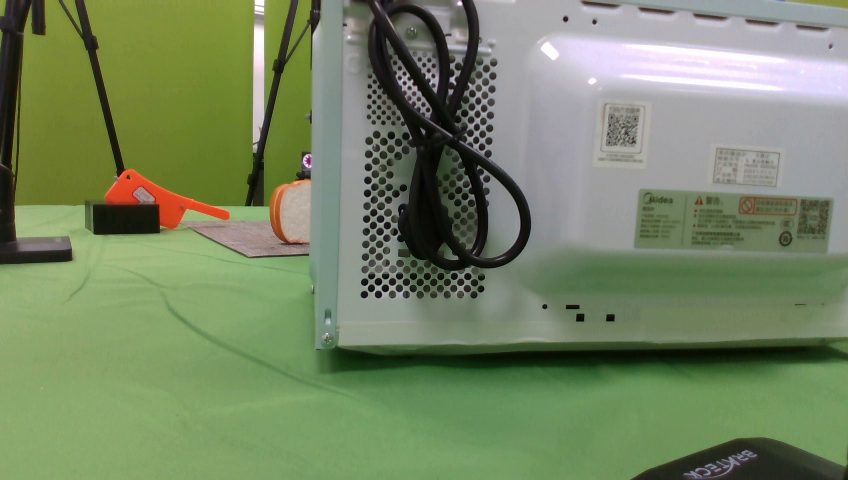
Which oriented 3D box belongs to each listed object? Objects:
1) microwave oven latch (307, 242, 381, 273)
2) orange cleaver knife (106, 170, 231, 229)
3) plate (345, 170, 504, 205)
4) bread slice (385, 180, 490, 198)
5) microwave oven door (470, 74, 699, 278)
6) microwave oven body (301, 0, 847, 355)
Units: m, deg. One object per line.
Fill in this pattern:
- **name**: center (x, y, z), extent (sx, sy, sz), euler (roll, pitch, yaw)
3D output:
- **microwave oven latch**: center (-0.086, 0.019, 0.656), extent (0.079, 0.029, 0.030), euler (2, 7, -10)
- **orange cleaver knife**: center (-0.458, -0.060, 1.097), extent (0.212, 0.077, 0.012), euler (23, -4, -38)
- **plate**: center (0.001, -0.067, 0.794), extent (0.208, 0.039, 0.207), euler (-1, 3, 0)
- **bread slice**: center (0.024, -0.068, 0.801), extent (0.107, 0.018, 0.133), euler (-6, 4, -29)
- **microwave oven door**: center (0.200, -0.095, 0.850), extent (0.039, 0.243, 0.354), euler (-3, 9, -38)
- **microwave oven body**: center (0.120, -0.053, 0.535), extent (0.443, 0.260, 0.325), euler (2, 7, -11)
